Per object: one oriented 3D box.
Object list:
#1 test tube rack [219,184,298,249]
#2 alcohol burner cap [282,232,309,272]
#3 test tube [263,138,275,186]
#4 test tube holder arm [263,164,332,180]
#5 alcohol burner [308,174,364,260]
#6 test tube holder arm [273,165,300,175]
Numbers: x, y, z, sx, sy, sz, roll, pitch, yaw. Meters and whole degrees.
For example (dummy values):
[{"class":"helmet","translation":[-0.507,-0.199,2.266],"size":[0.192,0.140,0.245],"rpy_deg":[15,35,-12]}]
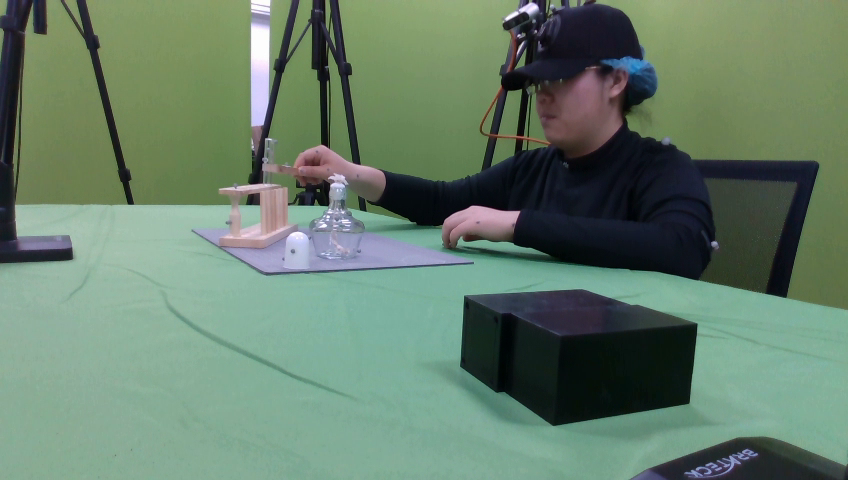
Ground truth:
[{"class":"test tube rack","translation":[-0.266,-0.046,1.001],"size":[0.067,0.085,0.242],"rpy_deg":[3,7,0]},{"class":"alcohol burner cap","translation":[-0.157,0.014,0.740],"size":[0.034,0.048,0.034],"rpy_deg":[2,6,0]},{"class":"test tube","translation":[-0.276,-0.105,1.067],"size":[0.017,0.150,0.017],"rpy_deg":[6,8,0]},{"class":"test tube holder arm","translation":[-0.236,-0.129,1.148],"size":[0.013,0.015,0.179],"rpy_deg":[11,6,29]},{"class":"alcohol burner","translation":[-0.121,-0.033,0.841],"size":[0.078,0.119,0.078],"rpy_deg":[3,5,0]},{"class":"test tube holder arm","translation":[-0.250,-0.128,1.105],"size":[0.010,0.015,0.088],"rpy_deg":[9,5,14]}]
